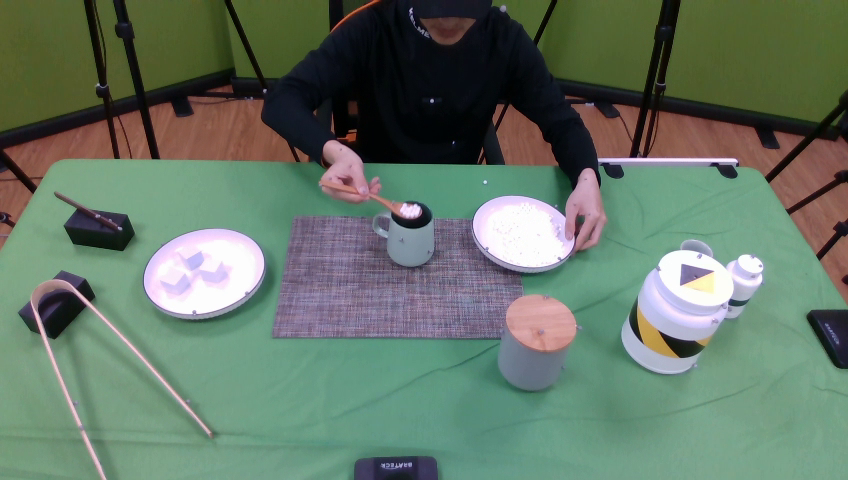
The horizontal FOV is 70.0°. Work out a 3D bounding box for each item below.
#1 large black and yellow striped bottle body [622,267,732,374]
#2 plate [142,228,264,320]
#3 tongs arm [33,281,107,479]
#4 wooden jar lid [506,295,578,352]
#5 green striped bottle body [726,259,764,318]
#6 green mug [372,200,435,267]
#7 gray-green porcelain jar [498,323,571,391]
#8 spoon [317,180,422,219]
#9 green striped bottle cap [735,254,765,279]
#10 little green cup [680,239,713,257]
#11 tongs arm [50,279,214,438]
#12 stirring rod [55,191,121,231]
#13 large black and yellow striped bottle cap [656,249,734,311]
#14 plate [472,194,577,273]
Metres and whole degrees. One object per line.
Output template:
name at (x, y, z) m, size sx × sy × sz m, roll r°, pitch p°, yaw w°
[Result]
large black and yellow striped bottle body at (0.415, 0.119, 0.997) m, size 0.131 × 0.185 × 0.130 m, roll 2°, pitch 46°, yaw -2°
plate at (-0.394, 0.064, 1.095) m, size 0.208 × 0.039 × 0.206 m, roll 2°, pitch 46°, yaw -2°
tongs arm at (-0.517, 0.214, 0.910) m, size 0.051 × 0.026 × 0.383 m, roll -28°, pitch 63°, yaw -27°
wooden jar lid at (0.179, 0.129, 0.925) m, size 0.108 × 0.021 × 0.107 m, roll 2°, pitch 43°, yaw -2°
green striped bottle body at (0.563, 0.081, 1.089) m, size 0.063 × 0.120 × 0.063 m, roll 2°, pitch 46°, yaw -2°
green mug at (-0.040, -0.016, 1.146) m, size 0.125 × 0.105 × 0.092 m, roll 17°, pitch 48°, yaw 13°
gray-green porcelain jar at (0.176, 0.172, 0.971) m, size 0.106 × 0.127 × 0.105 m, roll 2°, pitch 46°, yaw -2°
spoon at (-0.094, -0.075, 1.075) m, size 0.194 × 0.022 × 0.041 m, roll 20°, pitch 40°, yaw -19°
green striped bottle cap at (0.566, 0.046, 1.051) m, size 0.044 × 0.020 × 0.044 m, roll 0°, pitch 45°, yaw 0°
little green cup at (0.530, 0.033, 1.189) m, size 0.061 × 0.039 × 0.061 m, roll 2°, pitch 48°, yaw -2°
tongs arm at (-0.459, 0.178, 0.949) m, size 0.386 × 0.028 × 0.028 m, roll 37°, pitch 60°, yaw 17°
stirring rod at (-0.632, -0.055, 1.138) m, size 0.175 × 0.014 × 0.006 m, roll 24°, pitch 50°, yaw 19°
large black and yellow striped bottle cap at (0.419, 0.061, 0.938) m, size 0.115 × 0.019 × 0.114 m, roll 2°, pitch 47°, yaw -2°
plate at (0.196, -0.010, 1.205) m, size 0.209 × 0.038 × 0.208 m, roll 4°, pitch 46°, yaw -4°
